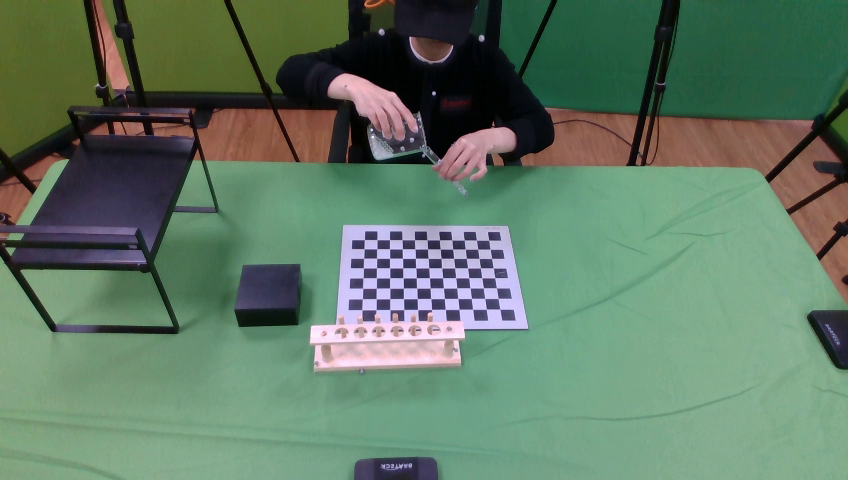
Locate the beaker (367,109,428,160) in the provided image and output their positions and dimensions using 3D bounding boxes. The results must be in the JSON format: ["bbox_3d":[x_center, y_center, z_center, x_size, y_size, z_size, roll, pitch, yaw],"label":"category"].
[{"bbox_3d":[-0.047,-0.187,1.102,0.100,0.084,0.073,-11,45,4],"label":"beaker"}]

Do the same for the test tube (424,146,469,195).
[{"bbox_3d":[0.046,-0.133,1.174,0.017,0.151,0.017,-21,49,26],"label":"test tube"}]

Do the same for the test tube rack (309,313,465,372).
[{"bbox_3d":[-0.059,0.161,0.990,0.242,0.085,0.066,-1,46,-5],"label":"test tube rack"}]
